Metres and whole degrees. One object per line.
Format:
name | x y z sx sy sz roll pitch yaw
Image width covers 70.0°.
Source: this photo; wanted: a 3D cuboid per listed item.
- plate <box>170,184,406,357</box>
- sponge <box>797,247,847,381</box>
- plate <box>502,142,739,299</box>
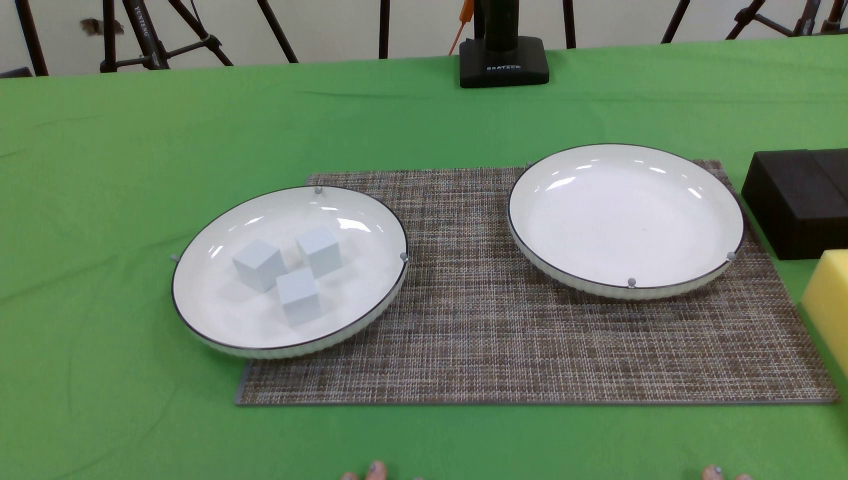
plate | -0.118 0.025 0.549 0.209 0.038 0.207 -3 42 3
sponge | 0.371 0.093 0.416 0.118 0.061 0.204 -4 43 2
plate | 0.177 -0.019 0.567 0.207 0.039 0.205 -3 43 3
